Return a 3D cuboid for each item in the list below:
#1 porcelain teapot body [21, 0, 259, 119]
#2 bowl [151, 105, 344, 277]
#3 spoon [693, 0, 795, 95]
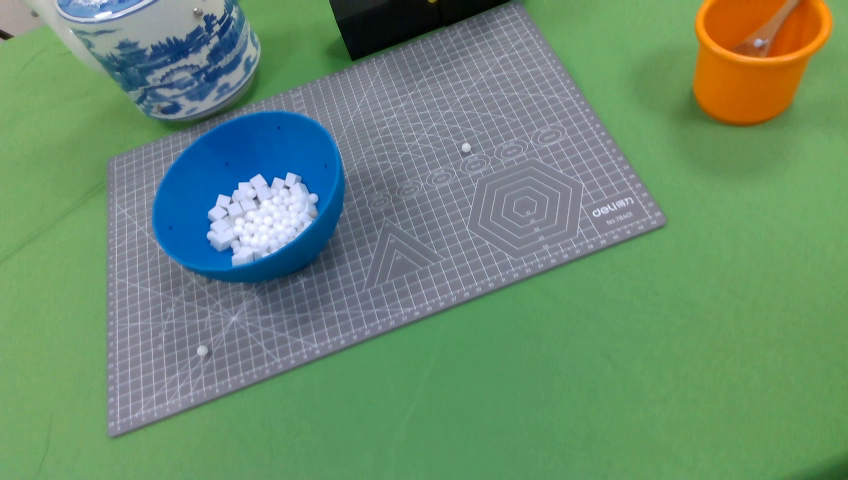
[{"bbox_3d":[-0.290,-0.226,0.566,0.205,0.227,0.144,-10,57,9],"label":"porcelain teapot body"},{"bbox_3d":[-0.128,-0.026,0.487,0.151,0.077,0.150,-6,58,10],"label":"bowl"},{"bbox_3d":[0.278,-0.184,0.444,0.022,0.194,0.041,7,46,-35],"label":"spoon"}]
